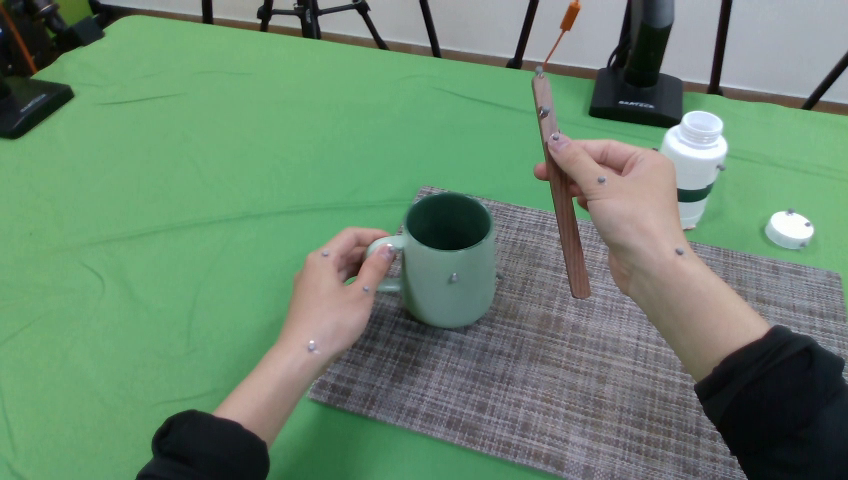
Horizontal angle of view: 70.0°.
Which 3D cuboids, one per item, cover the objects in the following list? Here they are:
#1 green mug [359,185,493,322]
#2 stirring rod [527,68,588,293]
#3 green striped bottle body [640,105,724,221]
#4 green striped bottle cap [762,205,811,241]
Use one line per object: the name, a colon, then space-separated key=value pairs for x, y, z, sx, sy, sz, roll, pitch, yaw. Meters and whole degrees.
green mug: x=0.003 y=0.017 z=0.557 sx=0.125 sy=0.106 sz=0.091 roll=-8 pitch=46 yaw=-7
stirring rod: x=0.097 y=-0.047 z=0.443 sx=0.014 sy=0.006 sz=0.175 roll=-4 pitch=74 yaw=-14
green striped bottle body: x=0.276 y=-0.083 z=0.646 sx=0.063 sy=0.120 sz=0.062 roll=0 pitch=45 yaw=1
green striped bottle cap: x=0.391 y=-0.018 z=0.654 sx=0.044 sy=0.020 sz=0.044 roll=1 pitch=42 yaw=0
